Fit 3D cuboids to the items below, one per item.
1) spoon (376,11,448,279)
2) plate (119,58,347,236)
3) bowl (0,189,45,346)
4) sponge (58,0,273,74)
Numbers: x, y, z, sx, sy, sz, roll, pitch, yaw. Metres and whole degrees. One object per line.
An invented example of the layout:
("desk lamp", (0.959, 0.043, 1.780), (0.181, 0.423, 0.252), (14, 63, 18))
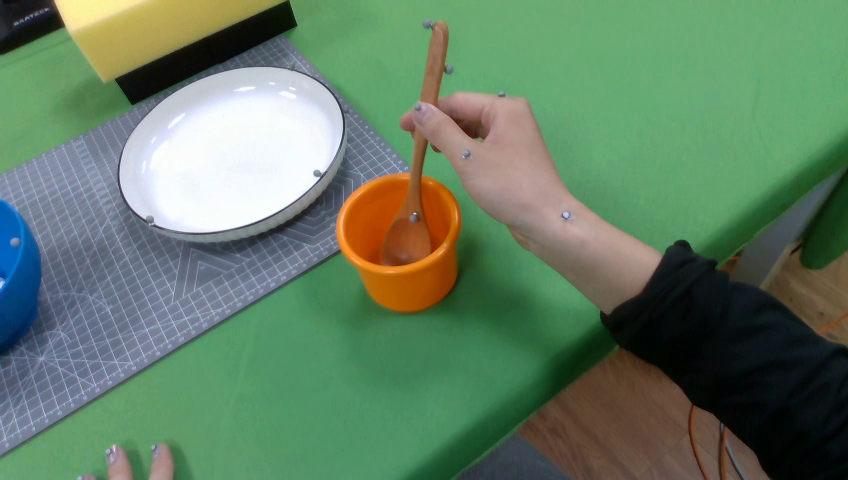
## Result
("spoon", (-0.004, -0.060, 0.430), (0.041, 0.195, 0.021), (18, 28, 15))
("plate", (-0.172, -0.086, 0.561), (0.209, 0.038, 0.207), (-3, 56, 5))
("bowl", (-0.364, 0.038, 0.477), (0.151, 0.077, 0.150), (-3, 56, 5))
("sponge", (-0.261, -0.266, 0.623), (0.207, 0.061, 0.117), (-31, 58, -14))
